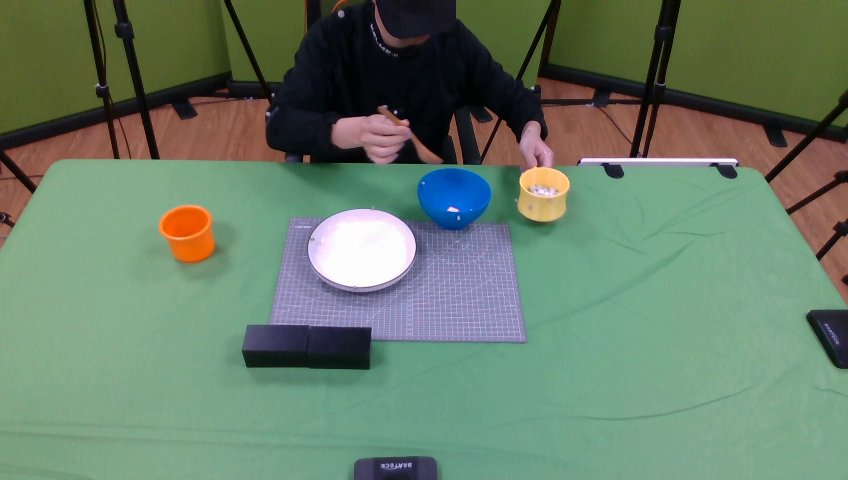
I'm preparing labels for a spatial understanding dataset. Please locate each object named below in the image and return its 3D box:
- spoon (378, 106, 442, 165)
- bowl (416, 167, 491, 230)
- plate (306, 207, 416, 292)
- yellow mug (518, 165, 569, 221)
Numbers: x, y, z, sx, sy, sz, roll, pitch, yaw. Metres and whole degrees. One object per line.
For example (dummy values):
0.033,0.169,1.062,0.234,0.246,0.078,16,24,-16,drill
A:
-0.026,-0.189,1.109,0.041,0.195,0.021,7,66,39,spoon
0.057,-0.073,1.231,0.151,0.077,0.150,2,42,-2,bowl
-0.119,0.021,1.153,0.209,0.038,0.208,2,46,-2,plate
0.240,-0.106,1.250,0.100,0.064,0.130,-10,43,-7,yellow mug
